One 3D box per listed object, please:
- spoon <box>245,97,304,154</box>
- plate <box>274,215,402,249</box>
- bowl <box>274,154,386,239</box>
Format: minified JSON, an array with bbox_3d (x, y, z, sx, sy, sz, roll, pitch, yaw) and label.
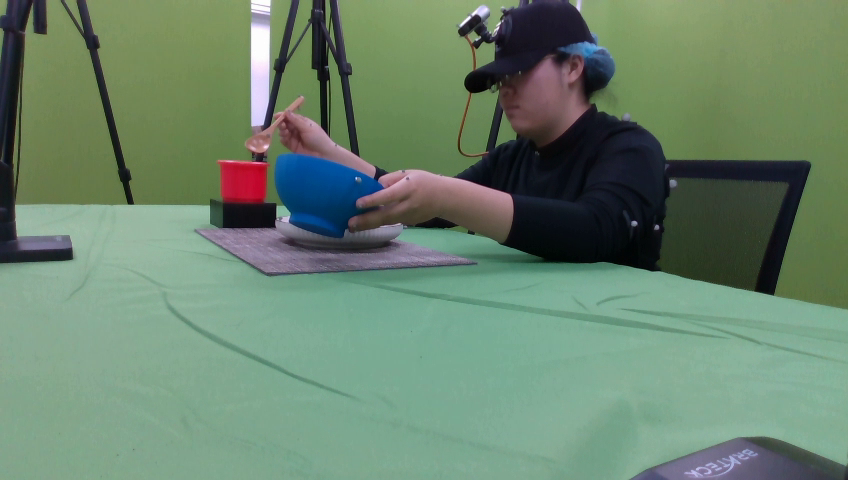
[{"bbox_3d":[-0.290,-0.231,1.201,0.041,0.194,0.021,30,-35,3],"label":"spoon"},{"bbox_3d":[-0.140,-0.015,0.993,0.208,0.039,0.207,3,8,0],"label":"plate"},{"bbox_3d":[-0.133,-0.049,0.798,0.151,0.077,0.151,14,-9,3],"label":"bowl"}]
